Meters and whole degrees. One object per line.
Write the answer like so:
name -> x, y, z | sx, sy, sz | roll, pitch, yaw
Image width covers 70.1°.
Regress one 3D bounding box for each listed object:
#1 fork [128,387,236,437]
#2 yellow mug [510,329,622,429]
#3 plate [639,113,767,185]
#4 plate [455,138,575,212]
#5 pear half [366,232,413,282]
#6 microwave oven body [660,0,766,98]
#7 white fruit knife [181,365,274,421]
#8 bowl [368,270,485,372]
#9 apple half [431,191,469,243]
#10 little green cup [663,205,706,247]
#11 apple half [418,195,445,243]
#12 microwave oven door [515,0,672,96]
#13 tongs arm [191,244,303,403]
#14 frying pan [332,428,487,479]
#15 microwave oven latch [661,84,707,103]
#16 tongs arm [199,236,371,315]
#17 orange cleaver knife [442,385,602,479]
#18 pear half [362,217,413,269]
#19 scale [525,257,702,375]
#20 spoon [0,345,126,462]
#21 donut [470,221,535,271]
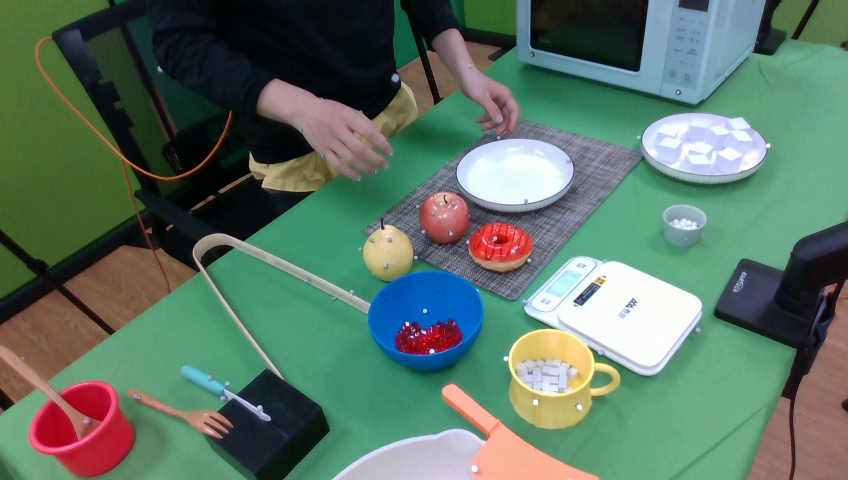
fork -> -0.305, 0.207, 0.744 | 0.206, 0.019, 0.028 | 3, 41, 36
yellow mug -> 0.168, 0.164, 0.721 | 0.130, 0.064, 0.099 | 0, 40, 8
plate -> 0.489, -0.157, 1.074 | 0.207, 0.039, 0.206 | -4, 40, 4
plate -> 0.159, -0.111, 1.063 | 0.209, 0.038, 0.208 | -4, 40, 4
pear half -> -0.048, 0.031, 0.893 | 0.071, 0.088, 0.031 | -16, 40, -13
microwave oven body -> 0.472, -0.513, 1.317 | 0.438, 0.261, 0.327 | 26, 51, 34
white fruit knife -> -0.245, 0.187, 0.747 | 0.205, 0.027, 0.016 | 9, 42, 41
bowl -> 0.007, 0.119, 0.791 | 0.151, 0.077, 0.150 | -5, 39, 4
apple half -> 0.045, -0.039, 0.967 | 0.053, 0.075, 0.080 | -14, 37, -11
little green cup -> 0.396, -0.020, 0.926 | 0.061, 0.039, 0.061 | -4, 40, 4
apple half -> 0.009, -0.028, 0.959 | 0.033, 0.081, 0.080 | -14, 41, -11
microwave oven door -> 0.343, -0.454, 1.259 | 0.353, 0.245, 0.039 | 26, 51, 33
tongs arm -> -0.268, 0.109, 0.881 | 0.028, 0.028, 0.384 | -35, 46, -19
frying pan -> -0.089, 0.306, 0.564 | 0.487, 0.103, 0.306 | 10, 41, 7
microwave oven latch -> 0.517, -0.296, 1.204 | 0.078, 0.029, 0.030 | 27, 52, 35
tongs arm -> -0.209, 0.063, 0.924 | 0.381, 0.026, 0.051 | 23, 52, 32
orange cleaver knife -> 0.086, 0.219, 0.612 | 0.209, 0.012, 0.077 | 28, 48, 35
pear half -> -0.059, 0.002, 0.913 | 0.076, 0.110, 0.055 | -14, 40, -13
scale -> 0.254, 0.091, 0.821 | 0.199, 0.032, 0.149 | 28, 51, 35
spoon -> -0.434, 0.192, 0.720 | 0.194, 0.021, 0.042 | 47, 53, -7
donut -> 0.119, 0.009, 0.923 | 0.099, 0.048, 0.098 | -3, 39, 3
